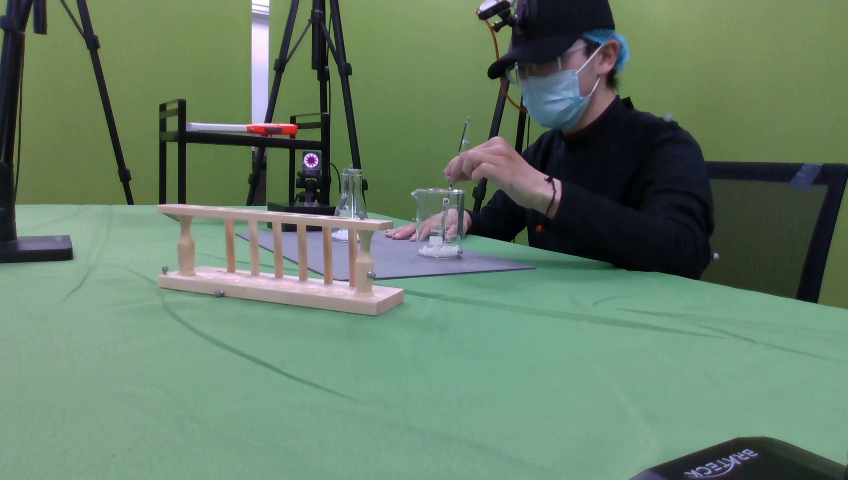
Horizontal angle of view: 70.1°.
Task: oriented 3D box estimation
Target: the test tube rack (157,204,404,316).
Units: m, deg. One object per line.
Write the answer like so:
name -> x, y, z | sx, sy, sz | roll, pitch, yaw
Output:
test tube rack -> -0.143, 0.013, 0.598 | 0.242, 0.085, 0.067 | 5, 8, 19

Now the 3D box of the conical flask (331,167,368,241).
conical flask -> -0.123, -0.061, 1.018 | 0.075, 0.122, 0.075 | 2, 7, 0

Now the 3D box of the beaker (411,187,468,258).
beaker -> 0.022, -0.027, 0.891 | 0.084, 0.100, 0.074 | 1, 7, -3

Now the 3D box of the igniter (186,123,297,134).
igniter -> -0.392, -0.247, 1.341 | 0.057, 0.025, 0.278 | 9, 14, 38

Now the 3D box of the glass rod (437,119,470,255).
glass rod -> 0.043, -0.074, 0.863 | 0.008, 0.199, 0.008 | 12, 9, -2
